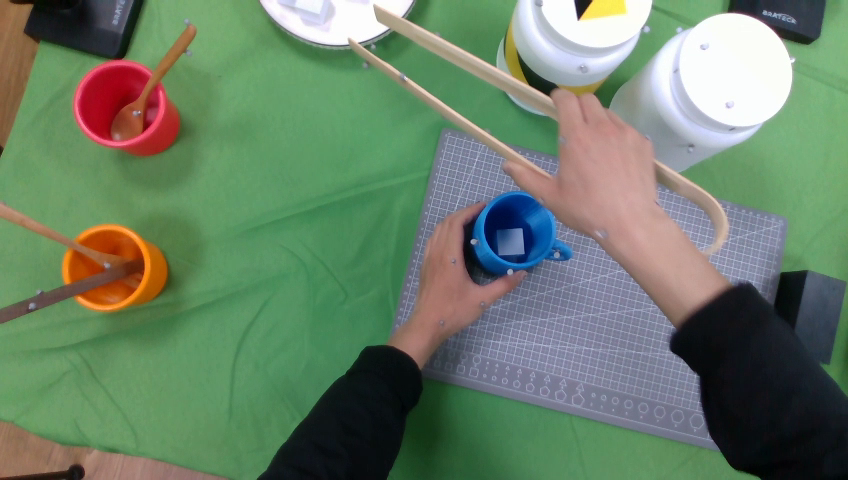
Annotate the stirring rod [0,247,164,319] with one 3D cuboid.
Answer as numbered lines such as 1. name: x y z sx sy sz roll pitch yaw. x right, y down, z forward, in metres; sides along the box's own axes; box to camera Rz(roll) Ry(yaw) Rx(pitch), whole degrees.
1. stirring rod: -0.354 0.042 0.634 0.176 0.006 0.014 -29 90 -48

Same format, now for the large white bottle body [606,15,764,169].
1. large white bottle body: 0.295 -0.158 0.674 0.131 0.185 0.130 0 84 -4

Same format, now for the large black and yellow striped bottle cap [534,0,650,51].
1. large black and yellow striped bottle cap: 0.164 -0.242 0.590 0.115 0.019 0.114 0 86 -5

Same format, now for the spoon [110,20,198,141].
1. spoon: -0.294 -0.169 0.655 0.194 0.022 0.041 -34 82 37

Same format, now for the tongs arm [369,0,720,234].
1. tongs arm: 0.097 -0.124 0.555 0.385 0.028 0.028 36 76 15

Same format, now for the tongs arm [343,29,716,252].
1. tongs arm: 0.081 -0.103 0.551 0.382 0.027 0.050 39 81 15

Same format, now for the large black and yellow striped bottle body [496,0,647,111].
1. large black and yellow striped bottle body: 0.159 -0.232 0.672 0.131 0.184 0.130 0 84 -4

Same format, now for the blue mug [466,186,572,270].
1. blue mug: 0.110 -0.004 0.685 0.116 0.106 0.082 20 83 -2

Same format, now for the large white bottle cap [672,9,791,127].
1. large white bottle cap: 0.300 -0.168 0.591 0.115 0.018 0.114 1 84 -5

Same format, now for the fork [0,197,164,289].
1. fork: -0.367 -0.001 0.631 0.209 0.018 0.028 39 79 -43

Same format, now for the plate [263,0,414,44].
1. plate: -0.103 -0.335 0.737 0.208 0.039 0.207 0 85 -4
